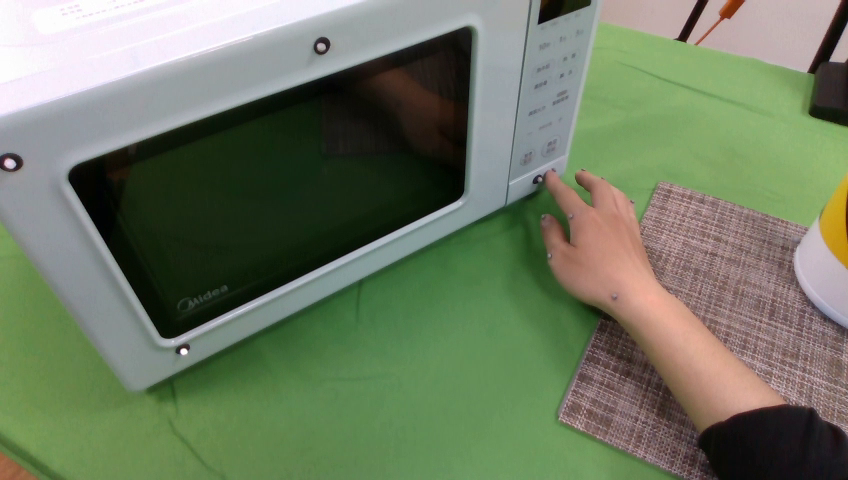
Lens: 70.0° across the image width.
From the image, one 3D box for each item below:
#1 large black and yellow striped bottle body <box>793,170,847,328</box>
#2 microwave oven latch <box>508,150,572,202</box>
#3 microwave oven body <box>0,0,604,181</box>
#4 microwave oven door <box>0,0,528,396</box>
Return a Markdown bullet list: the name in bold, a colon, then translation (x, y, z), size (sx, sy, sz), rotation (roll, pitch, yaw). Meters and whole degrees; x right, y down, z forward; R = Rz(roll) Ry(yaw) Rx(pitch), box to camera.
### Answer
- **large black and yellow striped bottle body**: translation (0.390, -0.021, 0.465), size (0.131, 0.185, 0.129), rotation (0, 48, 0)
- **microwave oven latch**: translation (0.106, -0.068, 0.591), size (0.079, 0.030, 0.030), rotation (-25, 53, -20)
- **microwave oven body**: translation (-0.125, -0.148, 0.534), size (0.442, 0.262, 0.322), rotation (-27, 53, -22)
- **microwave oven door**: translation (-0.078, -0.046, 0.433), size (0.356, 0.246, 0.039), rotation (-27, 52, -22)
